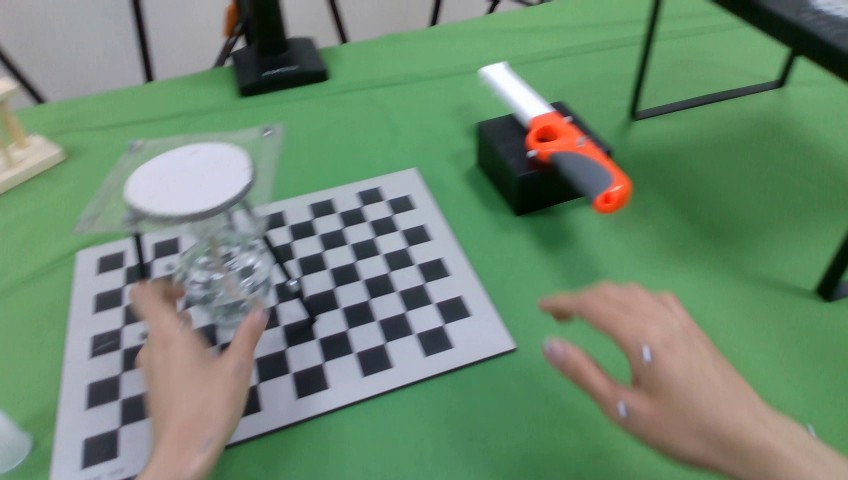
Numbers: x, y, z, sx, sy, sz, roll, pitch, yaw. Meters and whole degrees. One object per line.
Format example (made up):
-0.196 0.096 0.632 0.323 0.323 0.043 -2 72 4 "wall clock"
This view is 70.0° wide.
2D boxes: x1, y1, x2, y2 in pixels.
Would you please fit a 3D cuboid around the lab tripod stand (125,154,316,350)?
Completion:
-0.161 0.010 0.479 0.148 0.132 0.147 -1 41 1 "lab tripod stand"

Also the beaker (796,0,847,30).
0.331 -0.216 0.452 0.073 0.101 0.084 25 51 29 "beaker"

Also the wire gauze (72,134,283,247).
-0.167 -0.037 0.431 0.125 0.011 0.120 -3 41 -1 "wire gauze"

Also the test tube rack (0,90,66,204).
-0.517 -0.058 0.623 0.066 0.086 0.242 25 50 28 "test tube rack"

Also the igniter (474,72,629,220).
0.117 -0.103 0.598 0.057 0.025 0.273 -18 42 -11 "igniter"

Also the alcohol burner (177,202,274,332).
-0.164 0.018 0.486 0.078 0.120 0.077 -3 44 4 "alcohol burner"

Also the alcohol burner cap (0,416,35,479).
-0.298 0.141 0.420 0.034 0.048 0.033 -1 42 2 "alcohol burner cap"
